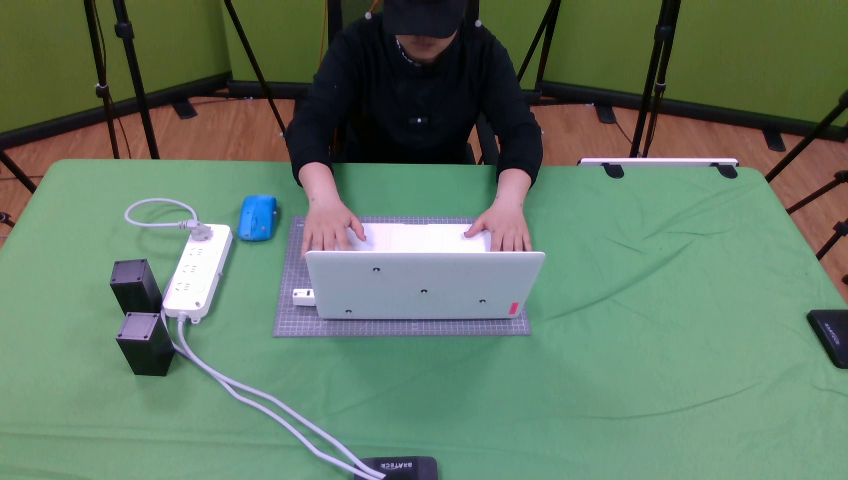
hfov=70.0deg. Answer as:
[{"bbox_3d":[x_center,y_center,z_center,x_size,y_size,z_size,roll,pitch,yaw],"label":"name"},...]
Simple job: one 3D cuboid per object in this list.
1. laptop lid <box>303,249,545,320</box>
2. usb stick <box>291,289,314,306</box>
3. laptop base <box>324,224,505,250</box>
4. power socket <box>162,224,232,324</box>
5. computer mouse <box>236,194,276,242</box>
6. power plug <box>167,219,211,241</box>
[{"bbox_3d":[-0.003,0.077,0.962,0.357,0.242,0.013,1,58,-5],"label":"laptop lid"},{"bbox_3d":[-0.203,0.101,1.067,0.059,0.027,0.021,4,45,-5],"label":"usb stick"},{"bbox_3d":[-0.014,0.055,1.143,0.355,0.023,0.234,0,42,-4],"label":"laptop base"},{"bbox_3d":[-0.410,0.052,1.106,0.072,0.033,0.225,4,45,-1],"label":"power socket"},{"bbox_3d":[-0.333,-0.047,1.206,0.063,0.041,0.116,3,51,-4],"label":"computer mouse"},{"bbox_3d":[-0.438,-0.017,1.143,0.072,0.053,0.035,10,43,7],"label":"power plug"}]
